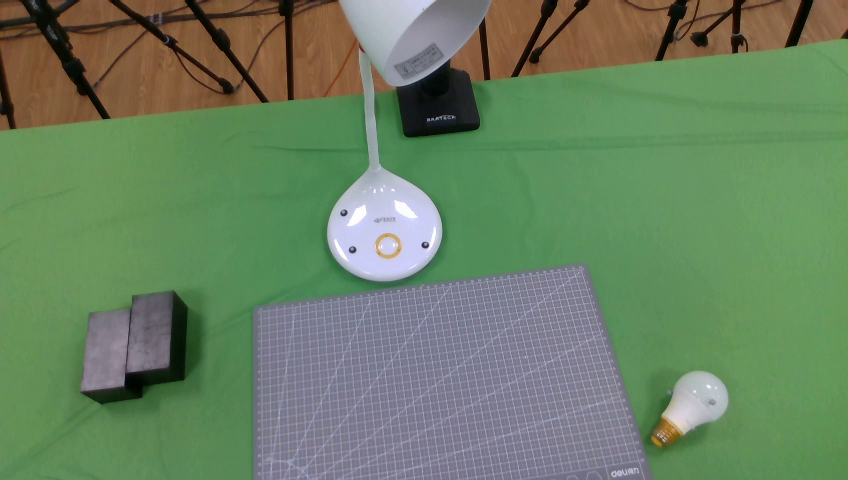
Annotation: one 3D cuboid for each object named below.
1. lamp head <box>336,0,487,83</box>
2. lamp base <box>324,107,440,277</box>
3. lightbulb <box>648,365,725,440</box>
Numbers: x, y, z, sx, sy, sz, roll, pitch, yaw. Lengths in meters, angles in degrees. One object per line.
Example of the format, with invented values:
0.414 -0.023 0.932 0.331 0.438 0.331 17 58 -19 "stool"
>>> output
-0.026 -0.207 0.495 0.112 0.113 0.122 -36 77 -19 "lamp head"
-0.063 -0.068 0.779 0.161 0.182 0.177 -15 60 -8 "lamp base"
0.305 0.195 0.714 0.107 0.060 0.059 -44 69 -4 "lightbulb"
